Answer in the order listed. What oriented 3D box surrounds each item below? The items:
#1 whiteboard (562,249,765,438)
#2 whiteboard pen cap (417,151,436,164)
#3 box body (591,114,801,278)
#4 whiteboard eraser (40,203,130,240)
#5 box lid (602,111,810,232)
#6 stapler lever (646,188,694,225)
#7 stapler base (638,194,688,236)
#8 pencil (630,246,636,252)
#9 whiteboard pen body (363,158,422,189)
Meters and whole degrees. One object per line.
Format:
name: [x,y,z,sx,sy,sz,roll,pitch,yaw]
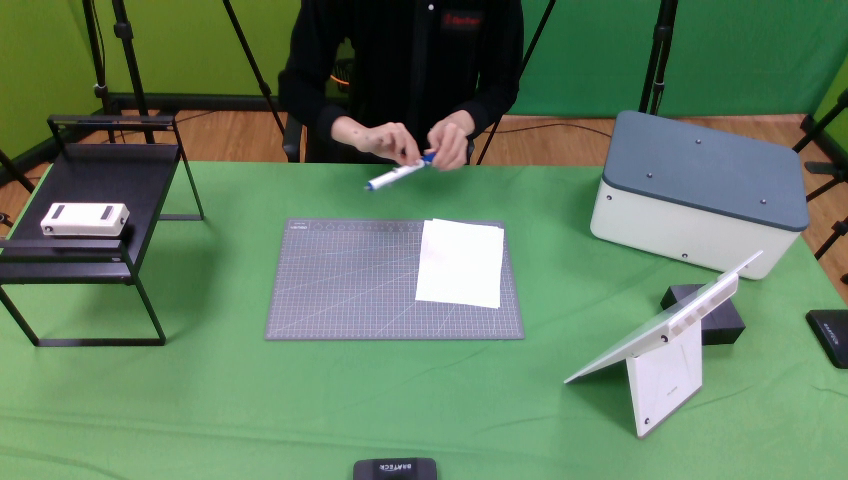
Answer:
whiteboard: [0.386,0.175,0.905,0.217,0.306,0.143,-26,72,-26]
whiteboard pen cap: [0.003,-0.145,1.074,0.033,0.018,0.018,-24,53,-23]
box body: [0.540,-0.092,1.229,0.363,0.161,0.253,16,47,11]
whiteboard eraser: [-0.513,-0.028,0.922,0.113,0.042,0.055,1,48,-3]
box lid: [0.545,-0.143,1.176,0.371,0.015,0.262,15,47,11]
stapler lever: [0.515,-0.078,1.265,0.027,0.040,0.117,-2,42,-29]
stapler base: [0.509,-0.059,1.278,0.041,0.024,0.129,-2,40,-29]
pencil: [0.431,-0.060,1.284,0.012,0.012,0.193,3,58,-1]
whiteboard pen body: [-0.045,-0.119,1.047,0.141,0.017,0.017,-28,54,-27]
